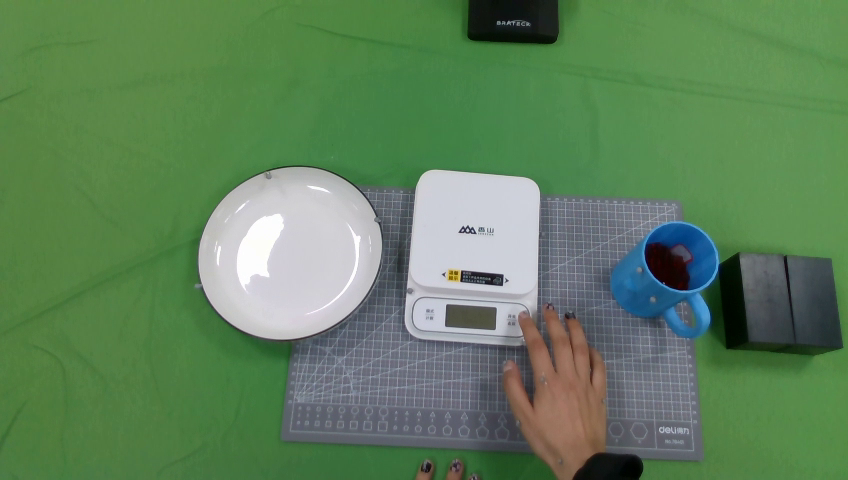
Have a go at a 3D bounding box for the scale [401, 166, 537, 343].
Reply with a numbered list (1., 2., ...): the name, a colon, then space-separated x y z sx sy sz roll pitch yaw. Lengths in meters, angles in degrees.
1. scale: 0.054 0.014 0.697 0.149 0.032 0.199 4 72 1

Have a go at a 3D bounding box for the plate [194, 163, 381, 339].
1. plate: -0.152 0.013 0.691 0.209 0.038 0.207 0 72 1

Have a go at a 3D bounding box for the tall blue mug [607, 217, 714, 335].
1. tall blue mug: 0.262 0.040 0.650 0.107 0.108 0.077 38 74 11
